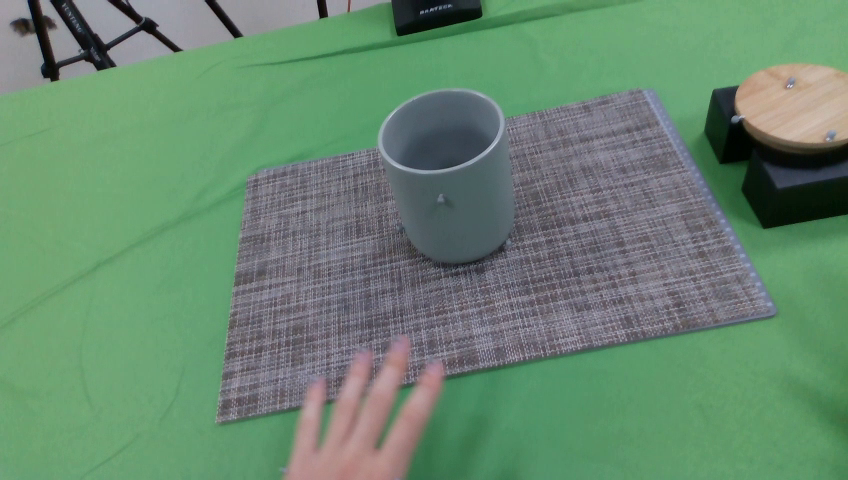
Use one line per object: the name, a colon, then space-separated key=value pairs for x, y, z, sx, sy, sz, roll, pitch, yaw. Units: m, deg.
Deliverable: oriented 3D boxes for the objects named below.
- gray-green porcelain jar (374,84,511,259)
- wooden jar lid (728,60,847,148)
gray-green porcelain jar: x=0.022 y=-0.054 z=0.533 sx=0.106 sy=0.128 sz=0.105 roll=-7 pitch=49 yaw=8
wooden jar lid: x=0.322 y=-0.117 z=0.525 sx=0.108 sy=0.021 sz=0.107 roll=-7 pitch=51 yaw=9
